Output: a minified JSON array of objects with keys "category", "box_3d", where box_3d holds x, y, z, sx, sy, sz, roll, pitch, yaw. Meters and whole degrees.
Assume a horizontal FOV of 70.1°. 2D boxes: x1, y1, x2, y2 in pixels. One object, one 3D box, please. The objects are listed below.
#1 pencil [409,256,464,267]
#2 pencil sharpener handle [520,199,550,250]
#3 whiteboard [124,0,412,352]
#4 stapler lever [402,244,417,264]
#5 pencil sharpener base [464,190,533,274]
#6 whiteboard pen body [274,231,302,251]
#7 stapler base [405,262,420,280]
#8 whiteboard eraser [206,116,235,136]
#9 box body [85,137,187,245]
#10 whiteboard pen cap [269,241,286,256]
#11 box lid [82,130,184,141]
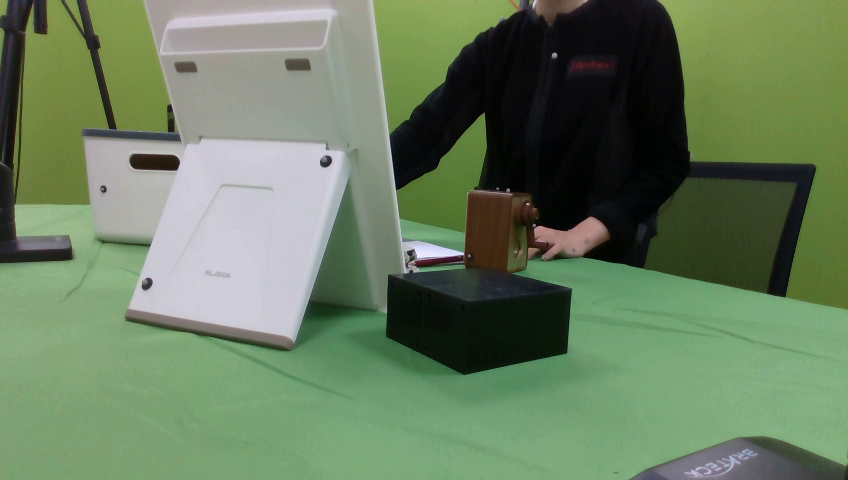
[{"category":"pencil","box_3d":[0.041,0.028,0.848,0.012,0.012,0.195,10,10,43]},{"category":"pencil sharpener handle","box_3d":[0.147,-0.019,0.785,0.030,0.068,0.036,8,26,36]},{"category":"whiteboard","box_3d":[-0.151,-0.049,0.472,0.216,0.305,0.144,6,27,24]},{"category":"stapler lever","box_3d":[-0.066,0.003,0.755,0.117,0.040,0.027,9,13,23]},{"category":"pencil sharpener base","box_3d":[0.102,-0.012,0.812,0.076,0.107,0.061,8,9,36]},{"category":"whiteboard pen body","box_3d":[-0.202,0.002,0.894,0.017,0.017,0.140,3,8,1]},{"category":"stapler base","box_3d":[-0.069,0.027,0.759,0.130,0.024,0.041,9,13,23]},{"category":"whiteboard eraser","box_3d":[-0.450,-0.252,1.335,0.056,0.042,0.112,1,7,-22]},{"category":"box body","box_3d":[-0.340,-0.088,1.022,0.254,0.160,0.364,4,7,11]},{"category":"whiteboard pen cap","box_3d":[-0.202,0.012,0.836,0.018,0.018,0.033,3,9,0]},{"category":"box lid","box_3d":[-0.337,-0.161,1.011,0.263,0.015,0.372,4,7,11]}]
